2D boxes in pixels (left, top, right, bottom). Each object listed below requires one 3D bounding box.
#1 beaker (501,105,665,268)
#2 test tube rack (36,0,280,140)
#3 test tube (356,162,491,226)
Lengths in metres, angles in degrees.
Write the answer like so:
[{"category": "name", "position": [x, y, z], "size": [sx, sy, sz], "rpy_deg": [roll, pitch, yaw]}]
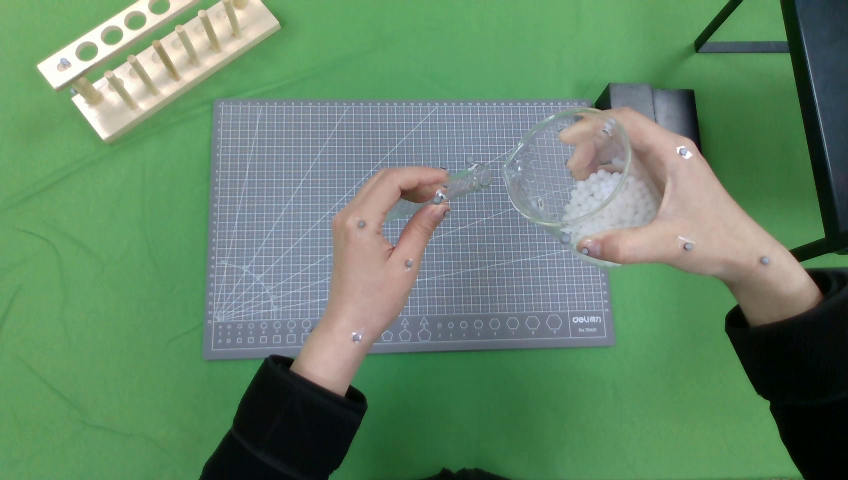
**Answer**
[{"category": "beaker", "position": [0.105, -0.028, 0.385], "size": [0.083, 0.101, 0.073], "rpy_deg": [6, 75, 37]}, {"category": "test tube rack", "position": [-0.285, -0.220, 0.675], "size": [0.242, 0.085, 0.066], "rpy_deg": [-38, 82, -11]}, {"category": "test tube", "position": [-0.007, -0.029, 0.435], "size": [0.017, 0.149, 0.017], "rpy_deg": [8, 76, -36]}]
